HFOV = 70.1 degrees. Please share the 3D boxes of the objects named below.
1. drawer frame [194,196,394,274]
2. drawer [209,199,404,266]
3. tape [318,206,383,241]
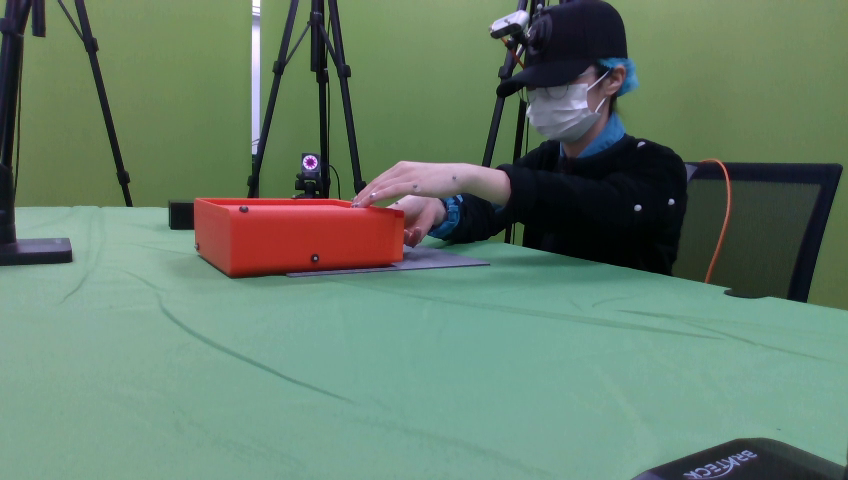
[{"bbox_3d":[-0.178,-0.014,0.815,0.215,0.082,0.200,-4,9,-32],"label":"drawer frame"},{"bbox_3d":[-0.164,-0.015,0.824,0.213,0.073,0.193,-3,9,-31],"label":"drawer"},{"bbox_3d":[-0.129,-0.030,1.075,0.117,0.052,0.117,2,8,0],"label":"tape"}]
